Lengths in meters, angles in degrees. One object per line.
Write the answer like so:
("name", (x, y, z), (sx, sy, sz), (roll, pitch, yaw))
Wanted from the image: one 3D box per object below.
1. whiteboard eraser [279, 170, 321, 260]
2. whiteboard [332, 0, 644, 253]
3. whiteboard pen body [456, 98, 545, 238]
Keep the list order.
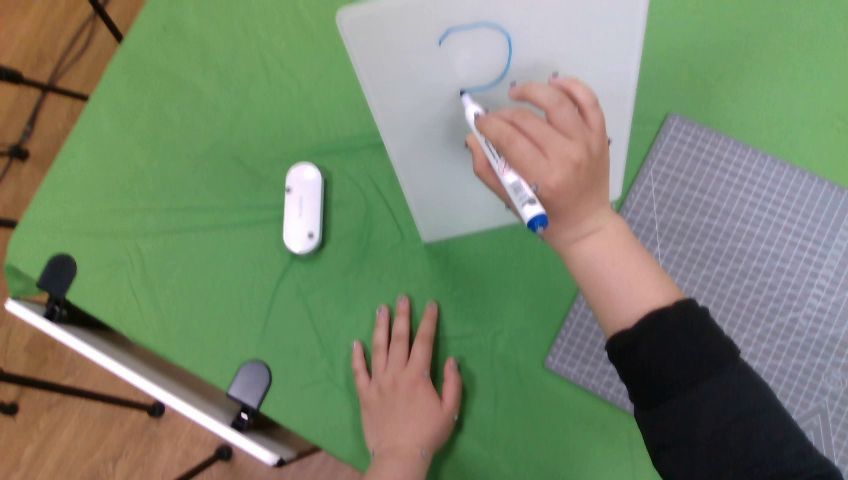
("whiteboard eraser", (-0.138, -0.028, 0.676), (0.041, 0.019, 0.101), (0, 80, 6))
("whiteboard", (0.063, -0.146, 0.560), (0.217, 0.308, 0.142), (-13, 57, 6))
("whiteboard pen body", (0.051, -0.058, 0.443), (0.017, 0.017, 0.139), (-26, 58, 2))
